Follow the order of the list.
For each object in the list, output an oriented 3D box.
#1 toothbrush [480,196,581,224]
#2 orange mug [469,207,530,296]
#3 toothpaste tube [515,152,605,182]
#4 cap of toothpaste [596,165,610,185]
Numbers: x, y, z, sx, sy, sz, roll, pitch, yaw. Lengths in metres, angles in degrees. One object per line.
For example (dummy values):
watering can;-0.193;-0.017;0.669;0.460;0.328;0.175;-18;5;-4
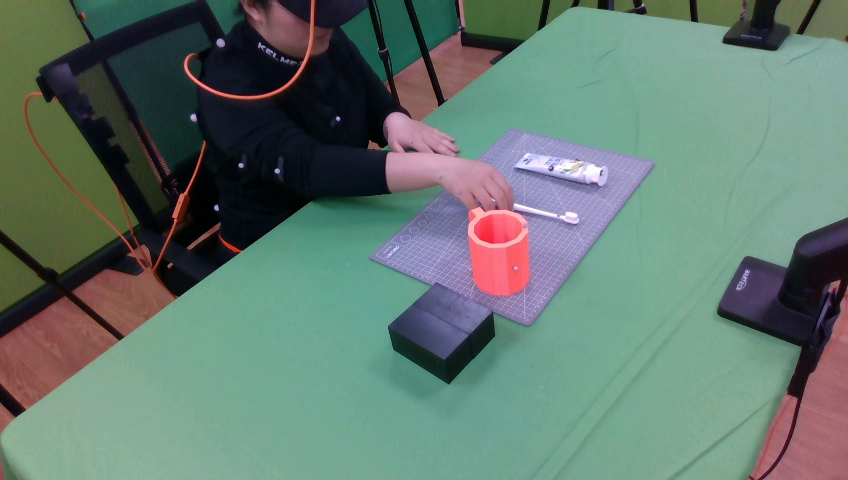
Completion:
toothbrush;0.175;-0.054;1.016;0.180;0.017;0.014;15;58;28
orange mug;0.104;0.008;0.894;0.084;0.101;0.125;-22;46;-14
toothpaste tube;0.248;-0.133;1.087;0.164;0.034;0.055;17;42;34
cap of toothpaste;0.307;-0.113;1.041;0.011;0.037;0.037;20;48;39
